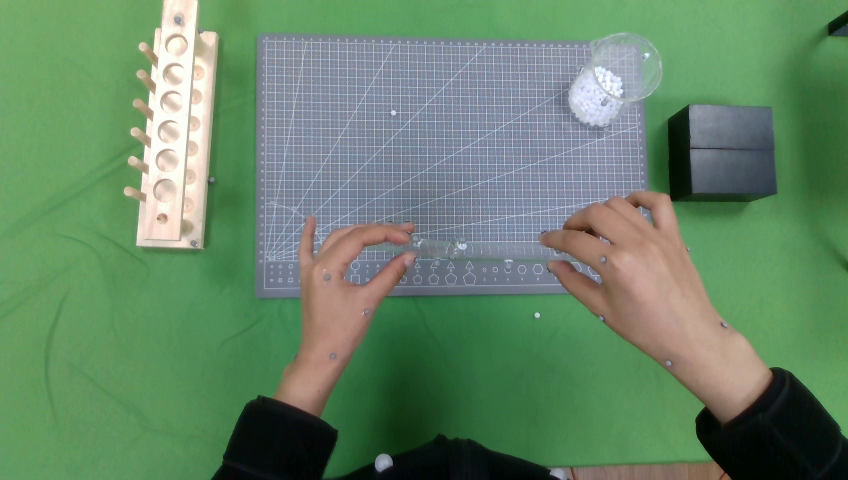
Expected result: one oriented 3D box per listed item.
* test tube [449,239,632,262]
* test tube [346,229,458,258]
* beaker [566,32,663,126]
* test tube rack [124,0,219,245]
[{"bbox_3d":[0.095,0.009,0.490,0.151,0.017,0.017,1,83,-4],"label":"test tube"},{"bbox_3d":[-0.025,0.002,0.543,0.017,0.149,0.017,-5,98,-40],"label":"test tube"},{"bbox_3d":[0.202,-0.174,0.669,0.084,0.100,0.074,37,82,1],"label":"beaker"},{"bbox_3d":[-0.265,-0.120,0.629,0.067,0.085,0.241,3,84,-5],"label":"test tube rack"}]
